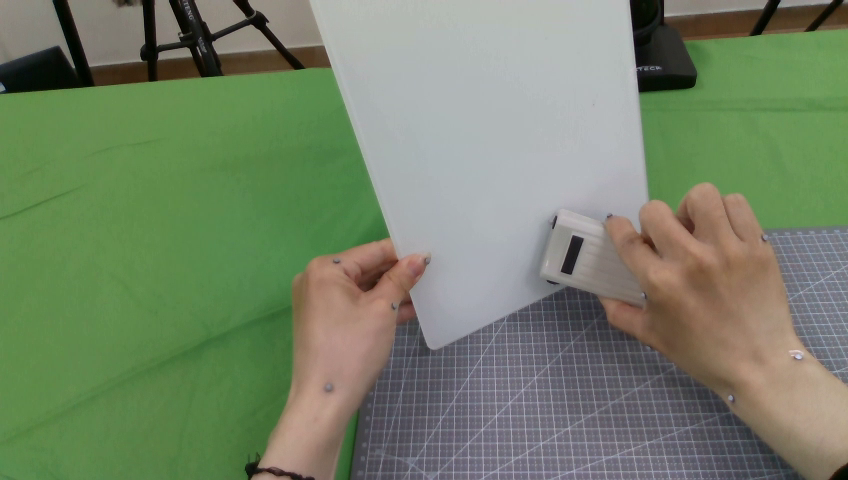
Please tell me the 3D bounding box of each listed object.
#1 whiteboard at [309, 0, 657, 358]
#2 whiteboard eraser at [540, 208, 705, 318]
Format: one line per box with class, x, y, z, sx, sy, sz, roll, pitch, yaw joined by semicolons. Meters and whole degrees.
whiteboard;0.039;-0.104;0.482;0.217;0.308;0.142;-24;28;-12
whiteboard eraser;0.149;0.016;0.464;0.112;0.056;0.041;17;23;8
